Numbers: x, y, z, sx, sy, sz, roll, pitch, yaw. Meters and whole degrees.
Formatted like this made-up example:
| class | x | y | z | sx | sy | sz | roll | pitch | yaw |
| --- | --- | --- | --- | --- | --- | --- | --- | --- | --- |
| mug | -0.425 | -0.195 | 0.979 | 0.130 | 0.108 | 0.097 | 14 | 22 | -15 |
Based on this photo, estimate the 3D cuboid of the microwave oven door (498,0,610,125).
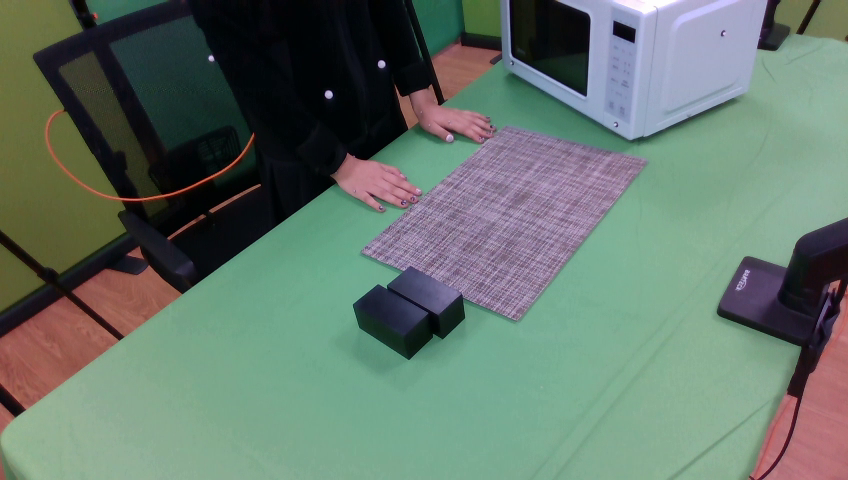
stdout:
| class | x | y | z | sx | sy | sz | roll | pitch | yaw |
| --- | --- | --- | --- | --- | --- | --- | --- | --- | --- |
| microwave oven door | 0.261 | -0.410 | 1.219 | 0.039 | 0.245 | 0.352 | -24 | 42 | -17 |

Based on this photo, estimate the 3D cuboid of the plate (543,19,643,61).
| class | x | y | z | sx | sy | sz | roll | pitch | yaw |
| --- | --- | --- | --- | --- | --- | --- | --- | --- | --- |
| plate | 0.359 | -0.426 | 1.293 | 0.209 | 0.038 | 0.208 | -1 | 36 | 1 |

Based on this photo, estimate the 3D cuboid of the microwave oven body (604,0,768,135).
| class | x | y | z | sx | sy | sz | roll | pitch | yaw |
| --- | --- | --- | --- | --- | --- | --- | --- | --- | --- |
| microwave oven body | 0.411 | -0.441 | 1.235 | 0.327 | 0.261 | 0.437 | -25 | 42 | -16 |

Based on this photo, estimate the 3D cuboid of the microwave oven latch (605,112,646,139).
| class | x | y | z | sx | sy | sz | roll | pitch | yaw |
| --- | --- | --- | --- | --- | --- | --- | --- | --- | --- |
| microwave oven latch | 0.375 | -0.217 | 1.130 | 0.030 | 0.029 | 0.078 | -25 | 42 | -16 |

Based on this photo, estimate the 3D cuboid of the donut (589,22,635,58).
| class | x | y | z | sx | sy | sz | roll | pitch | yaw |
| --- | --- | --- | --- | --- | --- | --- | --- | --- | --- |
| donut | 0.402 | -0.429 | 1.294 | 0.099 | 0.048 | 0.098 | 3 | 51 | -3 |
